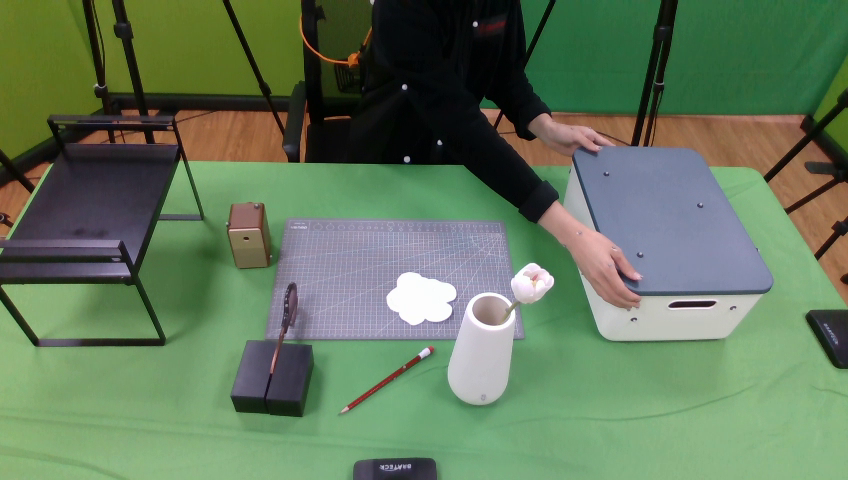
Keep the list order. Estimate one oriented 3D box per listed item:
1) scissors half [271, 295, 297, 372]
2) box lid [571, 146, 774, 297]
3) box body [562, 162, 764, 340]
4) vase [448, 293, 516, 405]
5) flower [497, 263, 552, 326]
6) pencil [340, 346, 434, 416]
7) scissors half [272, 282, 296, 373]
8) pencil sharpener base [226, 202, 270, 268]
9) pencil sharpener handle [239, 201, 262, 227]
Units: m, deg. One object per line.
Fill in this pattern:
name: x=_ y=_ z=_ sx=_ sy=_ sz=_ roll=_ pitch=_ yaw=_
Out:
scissors half: x=-0.230 y=0.154 z=1.000 sx=0.013 sy=0.040 sz=0.174 roll=0 pitch=34 yaw=2
box lid: x=0.424 y=-0.047 z=1.074 sx=0.263 sy=0.015 sz=0.369 roll=-1 pitch=47 yaw=-5
box body: x=0.420 y=0.003 z=1.129 sx=0.254 sy=0.161 sz=0.361 roll=-1 pitch=46 yaw=-5
vase: x=0.091 y=0.169 z=0.921 sx=0.098 sy=0.201 sz=0.097 roll=3 pitch=47 yaw=-3
flower: x=0.103 y=0.121 z=0.852 sx=0.044 sy=0.363 sz=0.038 roll=-2 pitch=64 yaw=-10
pencil: x=-0.058 y=0.227 z=0.984 sx=0.194 sy=0.012 sz=0.012 roll=-32 pitch=56 yaw=-28
scissors half: x=-0.229 y=0.139 z=0.986 sx=0.013 sy=0.040 sz=0.174 roll=4 pitch=51 yaw=-2
pencil sharpener base: x=-0.323 y=-0.010 z=1.123 sx=0.061 sy=0.107 sz=0.076 roll=-3 pitch=46 yaw=-7
pencil sharpener handle: x=-0.325 y=-0.056 z=1.150 sx=0.036 sy=0.068 sz=0.030 roll=-13 pitch=46 yaw=4
